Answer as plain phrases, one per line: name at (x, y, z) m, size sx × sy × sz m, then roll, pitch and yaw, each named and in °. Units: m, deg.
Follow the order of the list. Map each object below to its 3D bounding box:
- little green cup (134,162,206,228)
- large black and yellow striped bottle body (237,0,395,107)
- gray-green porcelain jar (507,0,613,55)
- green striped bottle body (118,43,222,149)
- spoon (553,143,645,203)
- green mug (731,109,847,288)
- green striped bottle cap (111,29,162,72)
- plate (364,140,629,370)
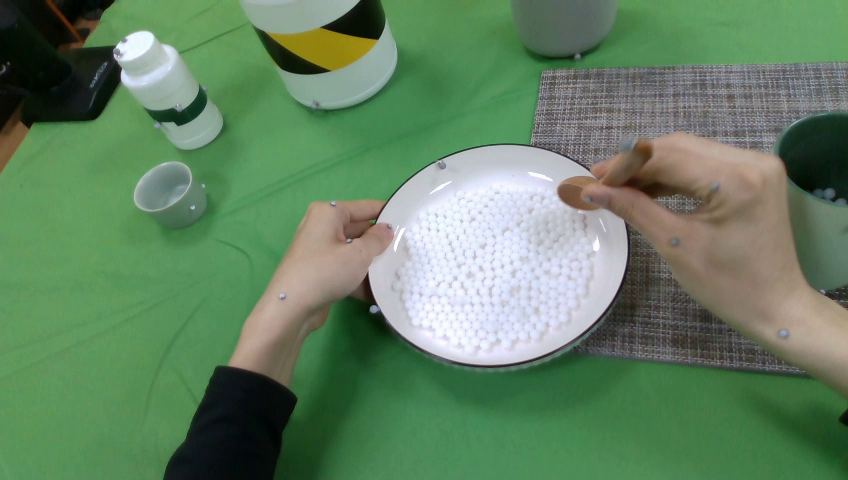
little green cup at (-0.252, -0.044, 0.607) m, size 0.061 × 0.039 × 0.061 m, roll -7°, pitch 55°, yaw 10°
large black and yellow striped bottle body at (-0.114, -0.240, 0.608) m, size 0.130 × 0.186 × 0.129 m, roll -7°, pitch 57°, yaw 11°
gray-green porcelain jar at (0.131, -0.256, 0.591) m, size 0.105 × 0.128 × 0.105 m, roll -6°, pitch 57°, yaw 10°
green striped bottle body at (-0.269, -0.156, 0.633) m, size 0.063 × 0.120 × 0.062 m, roll -7°, pitch 56°, yaw 11°
spoon at (0.117, -0.041, 0.405) m, size 0.041 × 0.194 × 0.021 m, roll 20°, pitch 93°, yaw 4°
green mug at (0.283, -0.019, 0.410) m, size 0.124 × 0.106 × 0.092 m, roll 25°, pitch 67°, yaw 26°
green striped bottle cap at (-0.280, -0.184, 0.591) m, size 0.044 × 0.020 × 0.044 m, roll -5°, pitch 59°, yaw 8°
plate at (0.056, 0.010, 0.490) m, size 0.209 × 0.038 × 0.207 m, roll -6°, pitch 57°, yaw 10°
